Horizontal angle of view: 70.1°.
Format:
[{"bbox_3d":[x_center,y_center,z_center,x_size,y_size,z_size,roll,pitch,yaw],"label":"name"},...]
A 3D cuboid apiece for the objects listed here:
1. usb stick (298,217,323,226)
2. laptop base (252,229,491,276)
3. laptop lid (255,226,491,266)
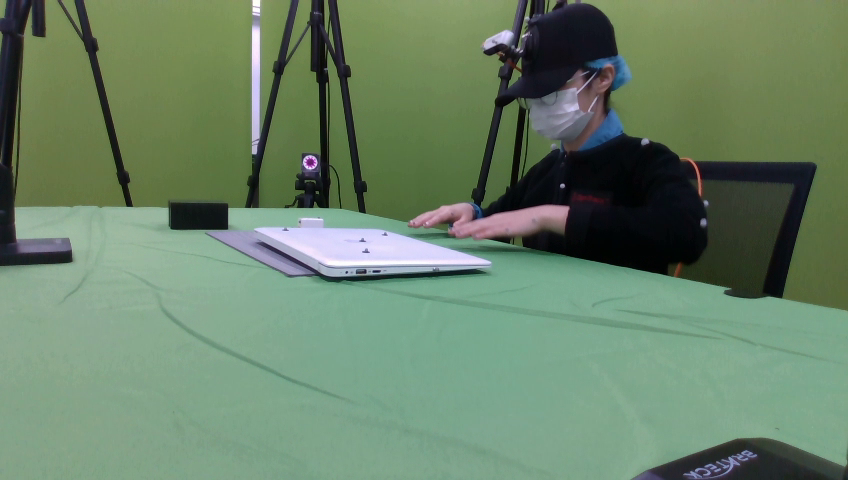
[{"bbox_3d":[-0.223,-0.031,1.150,0.059,0.027,0.021,-5,11,-29],"label":"usb stick"},{"bbox_3d":[-0.095,0.015,0.889,0.237,0.023,0.352,2,7,-30],"label":"laptop base"},{"bbox_3d":[-0.092,0.003,0.889,0.243,0.013,0.355,1,8,-28],"label":"laptop lid"}]
